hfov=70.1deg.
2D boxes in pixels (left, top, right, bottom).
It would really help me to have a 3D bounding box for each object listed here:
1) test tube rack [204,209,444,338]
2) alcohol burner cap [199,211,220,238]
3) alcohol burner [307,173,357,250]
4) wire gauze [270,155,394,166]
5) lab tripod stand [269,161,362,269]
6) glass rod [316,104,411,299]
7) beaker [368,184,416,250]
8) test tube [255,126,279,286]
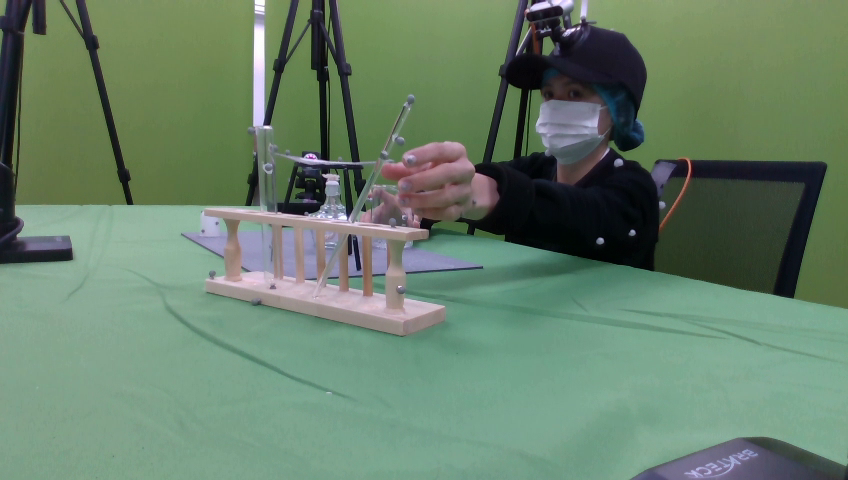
[{"bbox_3d":[-0.100,0.021,0.565,0.241,0.085,0.067,7,9,32],"label":"test tube rack"},{"bbox_3d":[-0.355,-0.027,1.002,0.034,0.048,0.034,2,7,0],"label":"alcohol burner cap"},{"bbox_3d":[-0.144,-0.045,0.940,0.078,0.119,0.078,1,9,0],"label":"alcohol burner"},{"bbox_3d":[-0.122,-0.102,0.785,0.122,0.011,0.124,-3,10,-39],"label":"wire gauze"},{"bbox_3d":[-0.125,-0.036,0.794,0.148,0.131,0.148,5,7,0],"label":"lab tripod stand"},{"bbox_3d":[-0.054,-0.026,0.516,0.008,0.199,0.008,23,24,-11],"label":"glass rod"},{"bbox_3d":[-0.051,-0.036,0.958,0.074,0.100,0.083,-1,9,-23],"label":"beaker"},{"bbox_3d":[-0.147,-0.031,0.566,0.017,0.150,0.017,-1,8,0],"label":"test tube"}]
